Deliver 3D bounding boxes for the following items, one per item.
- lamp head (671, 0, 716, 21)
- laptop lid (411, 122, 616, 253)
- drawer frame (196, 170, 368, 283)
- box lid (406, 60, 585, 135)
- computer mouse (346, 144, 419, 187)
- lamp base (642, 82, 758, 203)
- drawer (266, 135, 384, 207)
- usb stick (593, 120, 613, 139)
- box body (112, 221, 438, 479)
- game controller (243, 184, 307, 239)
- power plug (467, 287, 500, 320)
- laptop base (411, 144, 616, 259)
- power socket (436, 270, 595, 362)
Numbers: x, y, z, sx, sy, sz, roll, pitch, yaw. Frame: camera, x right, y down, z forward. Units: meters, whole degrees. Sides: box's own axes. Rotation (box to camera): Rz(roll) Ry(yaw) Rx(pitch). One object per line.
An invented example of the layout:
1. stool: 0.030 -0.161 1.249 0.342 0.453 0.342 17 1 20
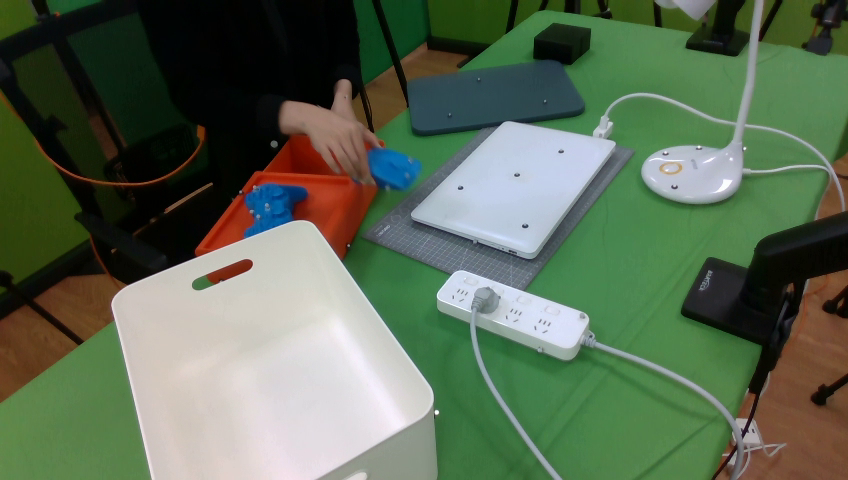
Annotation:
1. lamp head: 0.375 -0.373 0.807 0.122 0.113 0.112 -40 27 32
2. laptop lid: 0.165 -0.111 1.067 0.240 0.013 0.357 19 46 31
3. drawer frame: -0.220 -0.020 0.984 0.201 0.083 0.213 5 42 13
4. box lid: 0.150 -0.320 1.340 0.372 0.015 0.261 -8 40 0
5. computer mouse: -0.067 -0.119 0.957 0.116 0.041 0.063 14 53 30
6. lamp base: 0.464 -0.174 0.992 0.179 0.181 0.159 -5 41 -1
7. drawer: -0.189 -0.100 1.078 0.194 0.073 0.211 6 42 15
8. usb stick: 0.336 -0.201 1.147 0.021 0.027 0.059 26 53 26
9. box body: -0.170 0.168 0.693 0.255 0.161 0.360 -24 43 -19
10. game controller: -0.227 -0.039 0.928 0.097 0.052 0.154 -14 40 -4
11. power plug: 0.073 0.092 0.813 0.035 0.053 0.073 29 54 34
12. laptop base: 0.168 -0.101 1.073 0.234 0.023 0.355 17 46 30
13. power socket: 0.118 0.101 0.832 0.225 0.033 0.072 19 48 27
